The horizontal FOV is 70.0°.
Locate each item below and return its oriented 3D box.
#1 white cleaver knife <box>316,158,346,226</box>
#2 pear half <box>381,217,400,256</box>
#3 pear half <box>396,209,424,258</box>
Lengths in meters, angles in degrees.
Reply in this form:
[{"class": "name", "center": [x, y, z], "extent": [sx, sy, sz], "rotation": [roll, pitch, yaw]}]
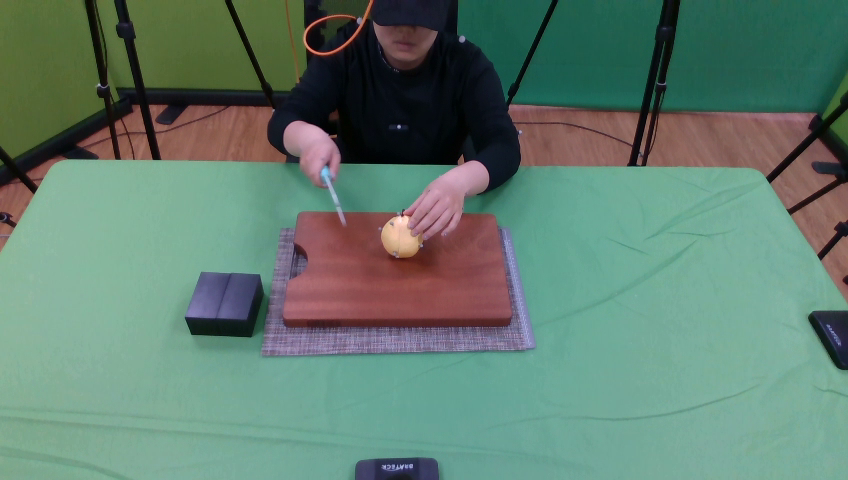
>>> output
[{"class": "white cleaver knife", "center": [-0.168, -0.089, 1.079], "extent": [0.021, 0.066, 0.285], "rotation": [-16, 23, -8]}, {"class": "pear half", "center": [-0.063, -0.008, 1.115], "extent": [0.031, 0.088, 0.070], "rotation": [-10, 55, -12]}, {"class": "pear half", "center": [-0.028, -0.018, 1.114], "extent": [0.056, 0.110, 0.076], "rotation": [-9, 51, -12]}]
